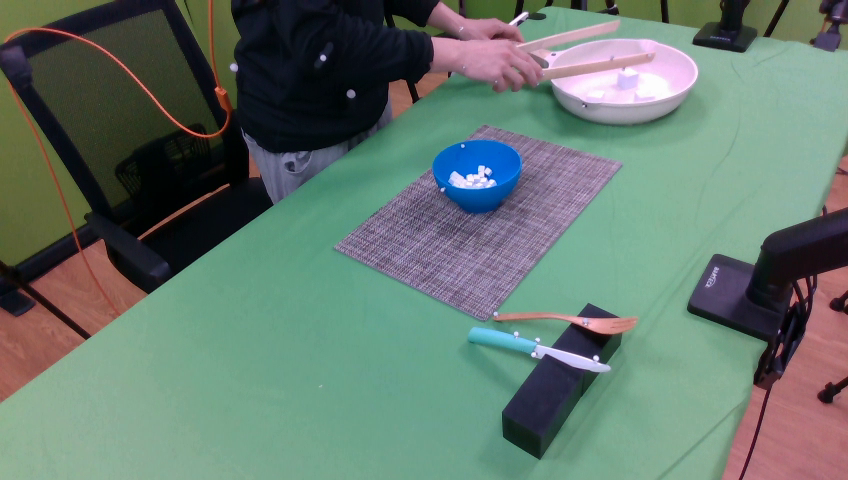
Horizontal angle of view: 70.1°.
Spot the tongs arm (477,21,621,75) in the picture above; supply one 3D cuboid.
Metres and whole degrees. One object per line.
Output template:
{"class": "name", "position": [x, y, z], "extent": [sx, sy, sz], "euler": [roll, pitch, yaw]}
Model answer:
{"class": "tongs arm", "position": [0.251, -0.380, 1.176], "extent": [0.389, 0.028, 0.028], "euler": [-23, 66, -28]}

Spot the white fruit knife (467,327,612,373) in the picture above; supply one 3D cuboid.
{"class": "white fruit knife", "position": [0.134, 0.134, 0.742], "extent": [0.205, 0.027, 0.016], "euler": [7, 35, 41]}

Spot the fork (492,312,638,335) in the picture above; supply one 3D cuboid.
{"class": "fork", "position": [0.173, 0.103, 0.774], "extent": [0.206, 0.019, 0.028], "euler": [0, 38, 40]}

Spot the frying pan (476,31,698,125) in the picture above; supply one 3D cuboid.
{"class": "frying pan", "position": [0.321, -0.371, 1.290], "extent": [0.484, 0.103, 0.307], "euler": [29, 51, 24]}

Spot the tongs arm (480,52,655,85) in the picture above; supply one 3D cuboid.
{"class": "tongs arm", "position": [0.281, -0.334, 1.146], "extent": [0.387, 0.026, 0.050], "euler": [-16, 59, -24]}

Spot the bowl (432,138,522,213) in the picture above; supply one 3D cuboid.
{"class": "bowl", "position": [0.091, -0.099, 1.021], "extent": [0.151, 0.077, 0.150], "euler": [-4, 41, 4]}
